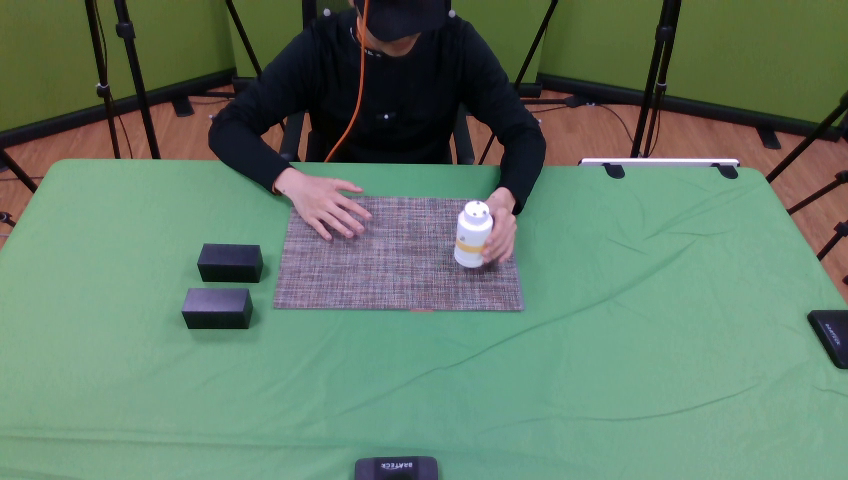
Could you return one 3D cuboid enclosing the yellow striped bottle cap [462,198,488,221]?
[{"bbox_3d":[0.090,-0.054,1.062,0.044,0.019,0.044,3,47,-3],"label":"yellow striped bottle cap"}]

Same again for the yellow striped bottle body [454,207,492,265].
[{"bbox_3d":[0.088,-0.017,1.098,0.063,0.121,0.062,1,44,-1],"label":"yellow striped bottle body"}]
